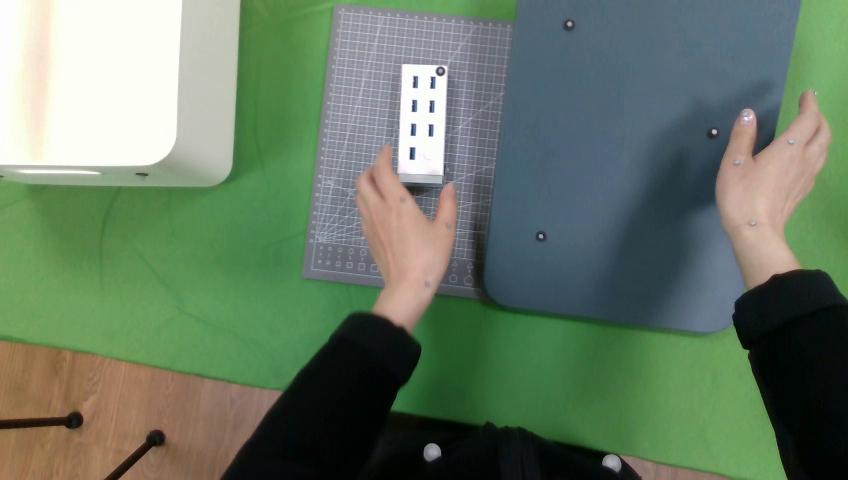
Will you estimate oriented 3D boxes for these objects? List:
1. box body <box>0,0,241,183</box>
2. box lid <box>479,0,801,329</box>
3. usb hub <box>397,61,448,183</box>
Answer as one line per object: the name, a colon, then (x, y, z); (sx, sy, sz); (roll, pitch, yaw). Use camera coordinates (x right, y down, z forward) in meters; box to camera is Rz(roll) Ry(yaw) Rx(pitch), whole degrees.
box body: (-0.322, -0.240, 0.588); (0.254, 0.160, 0.363); (1, 86, 2)
box lid: (0.204, -0.100, 0.597); (0.263, 0.015, 0.372); (7, 100, 3)
usb hub: (-0.001, -0.124, 0.636); (0.049, 0.025, 0.125); (3, 87, 2)
